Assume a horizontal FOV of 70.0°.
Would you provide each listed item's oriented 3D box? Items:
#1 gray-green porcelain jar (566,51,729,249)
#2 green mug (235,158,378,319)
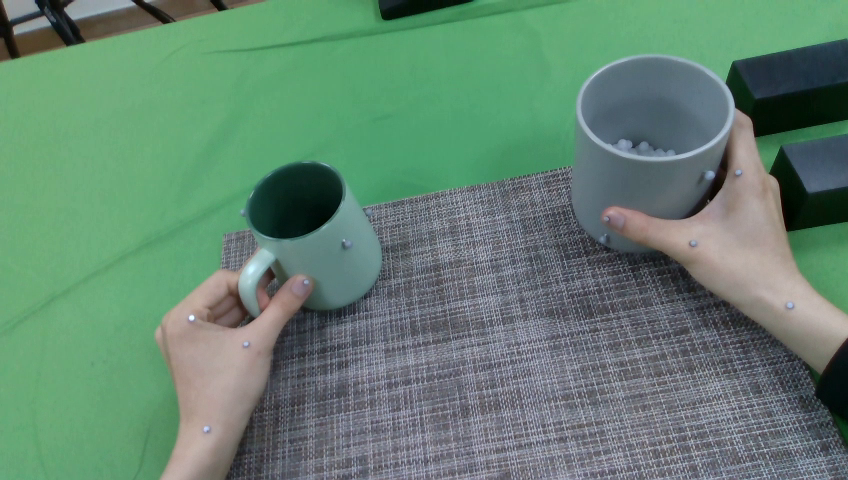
[{"bbox_3d":[0.166,-0.062,0.471,0.106,0.128,0.105,-5,56,8],"label":"gray-green porcelain jar"},{"bbox_3d":[-0.100,0.009,0.490,0.092,0.106,0.125,25,64,25],"label":"green mug"}]
